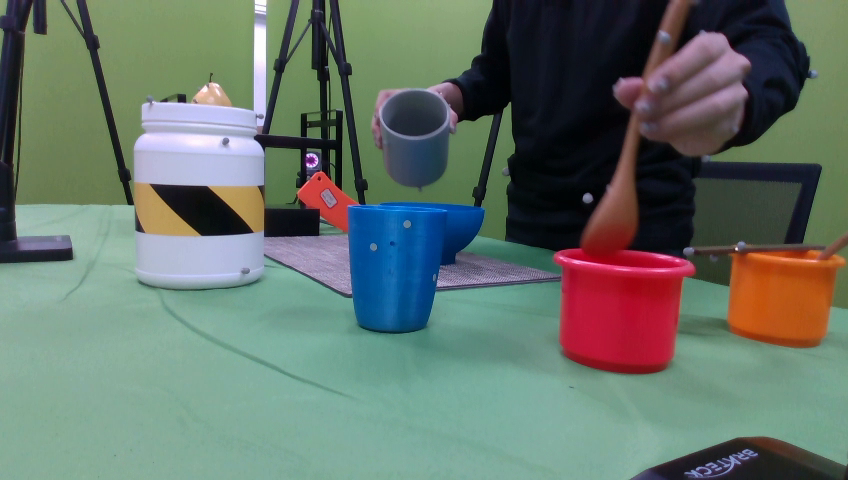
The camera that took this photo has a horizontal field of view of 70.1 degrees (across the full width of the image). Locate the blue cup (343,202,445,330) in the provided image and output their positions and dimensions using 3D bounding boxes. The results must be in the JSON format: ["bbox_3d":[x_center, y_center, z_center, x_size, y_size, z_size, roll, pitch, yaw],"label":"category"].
[{"bbox_3d":[-0.027,0.021,0.510,0.093,0.100,0.092,3,5,0],"label":"blue cup"}]

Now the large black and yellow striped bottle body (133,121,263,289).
[{"bbox_3d":[-0.243,-0.048,0.659,0.131,0.184,0.130,2,7,0],"label":"large black and yellow striped bottle body"}]

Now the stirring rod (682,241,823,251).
[{"bbox_3d":[0.289,0.005,0.525,0.177,0.006,0.014,-1,5,-26],"label":"stirring rod"}]

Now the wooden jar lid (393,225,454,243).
[{"bbox_3d":[-0.001,-0.011,1.057,0.108,0.020,0.108,8,5,0],"label":"wooden jar lid"}]

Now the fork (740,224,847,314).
[{"bbox_3d":[0.323,0.013,0.484,0.028,0.018,0.207,10,-38,-5],"label":"fork"}]

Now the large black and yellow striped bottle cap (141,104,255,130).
[{"bbox_3d":[-0.241,-0.131,0.650,0.115,0.019,0.115,3,8,0],"label":"large black and yellow striped bottle cap"}]

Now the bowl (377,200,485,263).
[{"bbox_3d":[0.008,-0.012,0.842,0.151,0.077,0.151,2,7,0],"label":"bowl"}]

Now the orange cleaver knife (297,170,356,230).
[{"bbox_3d":[-0.149,-0.058,1.170,0.212,0.077,0.012,33,-15,-32],"label":"orange cleaver knife"}]

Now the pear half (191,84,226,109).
[{"bbox_3d":[-0.406,-0.248,1.128,0.070,0.088,0.031,5,7,2],"label":"pear half"}]

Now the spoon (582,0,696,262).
[{"bbox_3d":[0.149,-0.067,0.422,0.042,0.193,0.021,1,25,-16],"label":"spoon"}]

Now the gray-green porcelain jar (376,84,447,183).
[{"bbox_3d":[-0.019,-0.159,0.939,0.106,0.105,0.126,2,-36,2],"label":"gray-green porcelain jar"}]

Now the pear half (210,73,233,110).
[{"bbox_3d":[-0.402,-0.262,1.162,0.076,0.109,0.056,6,7,2],"label":"pear half"}]
